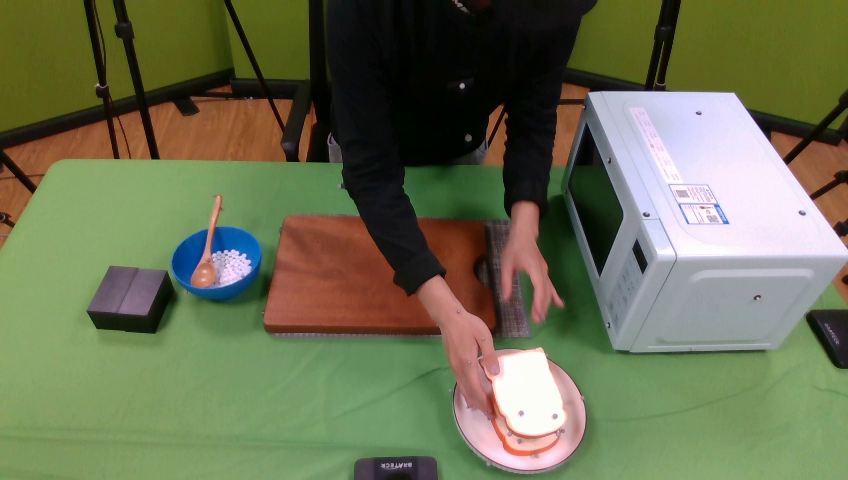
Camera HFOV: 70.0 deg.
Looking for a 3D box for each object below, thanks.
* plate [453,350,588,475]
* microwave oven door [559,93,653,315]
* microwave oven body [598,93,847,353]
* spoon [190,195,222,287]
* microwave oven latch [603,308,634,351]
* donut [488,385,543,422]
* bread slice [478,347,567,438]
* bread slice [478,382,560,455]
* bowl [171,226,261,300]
[{"bbox_3d":[0.147,0.267,0.943,0.208,0.039,0.206,2,45,-2],"label":"plate"},{"bbox_3d":[0.327,-0.074,1.123,0.039,0.245,0.353,-1,46,-5],"label":"microwave oven door"},{"bbox_3d":[0.475,-0.041,1.109,0.326,0.261,0.438,-1,45,-4],"label":"microwave oven body"},{"bbox_3d":[-0.383,0.000,1.088,0.041,0.022,0.193,1,66,3],"label":"spoon"},{"bbox_3d":[0.333,0.153,1.044,0.030,0.029,0.078,0,45,-3],"label":"microwave oven latch"},{"bbox_3d":[0.147,0.241,0.929,0.099,0.048,0.098,-3,40,2],"label":"donut"},{"bbox_3d":[0.152,0.227,0.901,0.107,0.018,0.133,-11,54,-16],"label":"bread slice"},{"bbox_3d":[0.154,0.268,0.943,0.105,0.019,0.130,-10,47,-12],"label":"bread slice"},{"bbox_3d":[-0.364,0.054,1.080,0.151,0.077,0.150,3,45,-3],"label":"bowl"}]
